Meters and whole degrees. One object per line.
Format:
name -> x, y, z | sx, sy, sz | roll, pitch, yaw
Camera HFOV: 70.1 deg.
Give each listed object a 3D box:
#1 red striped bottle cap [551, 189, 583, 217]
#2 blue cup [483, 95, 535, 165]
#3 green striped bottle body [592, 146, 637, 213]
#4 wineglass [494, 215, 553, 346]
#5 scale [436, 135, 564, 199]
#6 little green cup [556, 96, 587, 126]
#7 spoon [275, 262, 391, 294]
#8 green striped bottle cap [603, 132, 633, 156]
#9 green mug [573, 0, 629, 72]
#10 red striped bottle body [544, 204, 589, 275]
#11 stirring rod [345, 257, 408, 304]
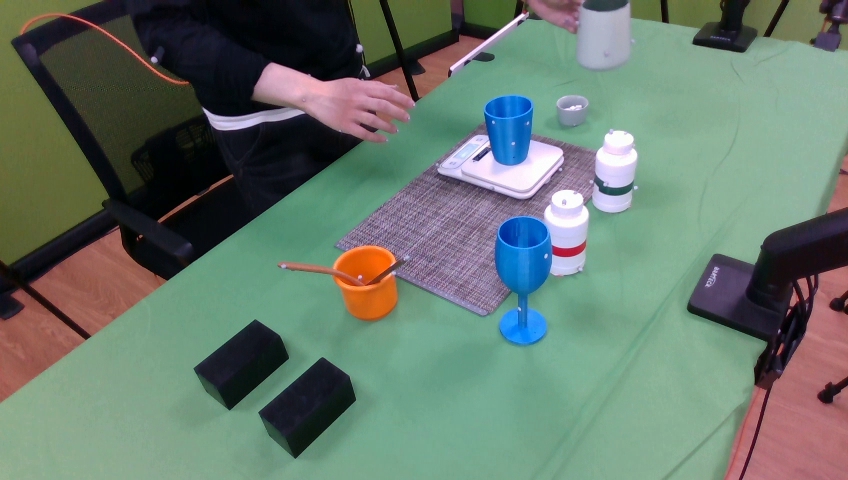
red striped bottle cap -> 0.200, -0.052, 0.843 | 0.044, 0.018, 0.044 | -2, 42, 2
blue cup -> 0.148, -0.188, 1.053 | 0.092, 0.100, 0.092 | -5, 39, 5
green striped bottle body -> 0.307, -0.108, 0.976 | 0.063, 0.120, 0.063 | -4, 41, 4
wineglass -> 0.127, 0.055, 0.770 | 0.074, 0.173, 0.073 | -4, 40, 4
scale -> 0.137, -0.142, 1.101 | 0.199, 0.032, 0.149 | 22, 48, 30
little green cup -> 0.295, -0.258, 1.214 | 0.061, 0.039, 0.061 | -4, 41, 4
spoon -> -0.120, 0.050, 0.830 | 0.041, 0.195, 0.021 | 32, 97, 45
green striped bottle cap -> 0.302, -0.150, 0.939 | 0.044, 0.020, 0.044 | -4, 41, 4
green mug -> 0.297, -0.359, 1.037 | 0.093, 0.105, 0.124 | -14, 41, -5
red striped bottle body -> 0.206, -0.011, 0.877 | 0.063, 0.120, 0.062 | -5, 41, 5
stirring rod -> -0.067, 0.057, 0.814 | 0.014, 0.175, 0.006 | -24, 82, -38
